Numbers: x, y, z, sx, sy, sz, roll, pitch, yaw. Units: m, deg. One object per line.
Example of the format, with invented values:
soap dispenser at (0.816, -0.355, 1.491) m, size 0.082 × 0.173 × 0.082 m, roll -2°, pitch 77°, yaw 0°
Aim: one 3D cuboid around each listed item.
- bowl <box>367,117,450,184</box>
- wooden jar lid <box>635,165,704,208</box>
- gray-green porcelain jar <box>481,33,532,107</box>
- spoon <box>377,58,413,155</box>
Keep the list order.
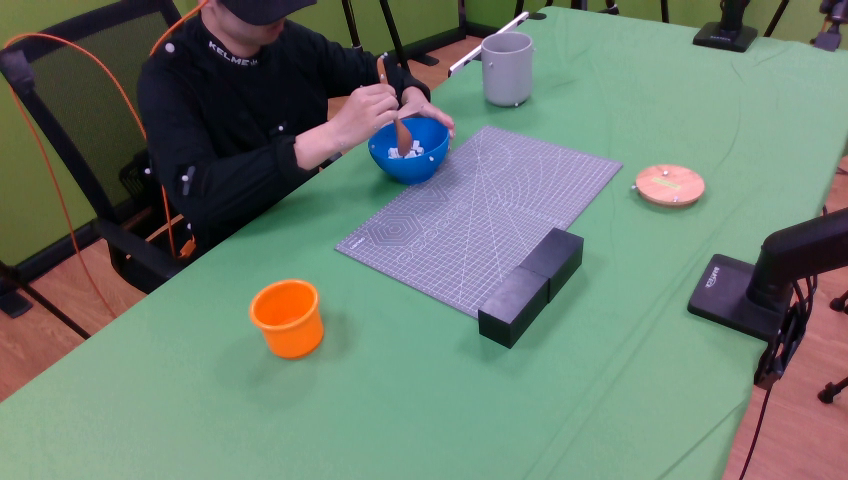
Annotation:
bowl at (-0.023, -0.155, 1.107) m, size 0.151 × 0.077 × 0.150 m, roll -6°, pitch 38°, yaw 5°
wooden jar lid at (0.410, -0.089, 1.014) m, size 0.108 × 0.021 × 0.108 m, roll -5°, pitch 42°, yaw 5°
gray-green porcelain jar at (0.175, -0.355, 1.278) m, size 0.106 × 0.127 × 0.105 m, roll -4°, pitch 41°, yaw 4°
spoon at (-0.054, -0.230, 1.062) m, size 0.021 × 0.195 × 0.042 m, roll 21°, pitch 55°, yaw 39°
